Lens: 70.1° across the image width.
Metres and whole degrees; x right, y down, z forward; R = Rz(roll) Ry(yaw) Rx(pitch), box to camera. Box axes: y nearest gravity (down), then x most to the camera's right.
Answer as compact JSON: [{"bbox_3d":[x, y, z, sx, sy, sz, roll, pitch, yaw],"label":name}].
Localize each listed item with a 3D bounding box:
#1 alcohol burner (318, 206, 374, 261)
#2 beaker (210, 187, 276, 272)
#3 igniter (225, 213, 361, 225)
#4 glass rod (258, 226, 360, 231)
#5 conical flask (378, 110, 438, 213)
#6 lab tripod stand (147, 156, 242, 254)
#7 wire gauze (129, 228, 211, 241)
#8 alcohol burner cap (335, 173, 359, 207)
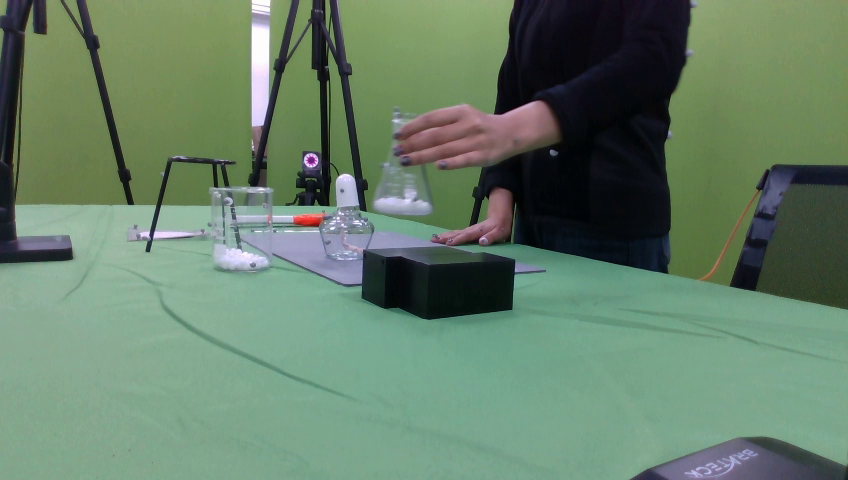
[{"bbox_3d":[-0.107,-0.032,0.833,0.078,0.119,0.078,1,6,0],"label":"alcohol burner"},{"bbox_3d":[-0.224,-0.014,0.738,0.084,0.100,0.074,4,7,16],"label":"beaker"},{"bbox_3d":[-0.257,-0.042,1.221,0.278,0.025,0.057,-2,-2,-32],"label":"igniter"},{"bbox_3d":[-0.215,-0.022,1.151,0.201,0.008,0.008,-2,8,-28],"label":"glass rod"},{"bbox_3d":[-0.017,-0.096,0.745,0.075,0.122,0.075,3,5,0],"label":"conical flask"},{"bbox_3d":[-0.310,-0.050,0.858,0.148,0.131,0.148,4,6,0],"label":"lab tripod stand"},{"bbox_3d":[-0.419,-0.010,0.999,0.122,0.011,0.124,0,6,-25],"label":"wire gauze"},{"bbox_3d":[-0.108,-0.068,0.829,0.034,0.048,0.034,-7,3,1],"label":"alcohol burner cap"}]
